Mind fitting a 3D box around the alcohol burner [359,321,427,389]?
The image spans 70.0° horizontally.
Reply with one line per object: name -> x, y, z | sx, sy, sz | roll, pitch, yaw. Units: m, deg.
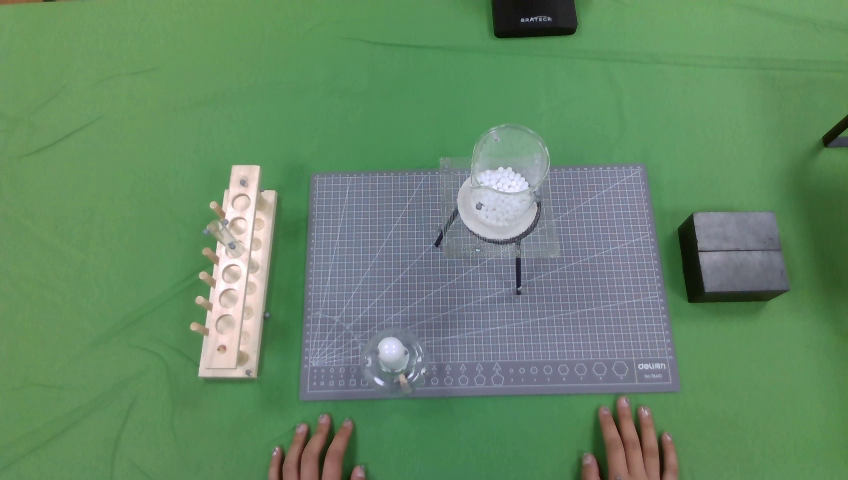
alcohol burner -> -0.035, 0.126, 0.676 | 0.078, 0.120, 0.077 | 0, 70, -1

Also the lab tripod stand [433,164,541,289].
lab tripod stand -> 0.084, -0.025, 0.716 | 0.148, 0.132, 0.147 | 0, 69, 2

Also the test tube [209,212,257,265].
test tube -> -0.214, 0.002, 0.686 | 0.017, 0.151, 0.017 | 1, 72, -1

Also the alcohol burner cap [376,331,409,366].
alcohol burner cap -> -0.035, 0.113, 0.642 | 0.034, 0.048, 0.033 | -2, 67, 6

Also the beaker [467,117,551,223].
beaker -> 0.079, -0.063, 0.609 | 0.084, 0.101, 0.073 | -34, 74, -11

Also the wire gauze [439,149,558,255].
wire gauze -> 0.079, -0.043, 0.652 | 0.125, 0.011, 0.120 | 0, 71, -2

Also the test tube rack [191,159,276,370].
test tube rack -> -0.232, 0.030, 0.729 | 0.067, 0.086, 0.240 | 1, 71, 1
